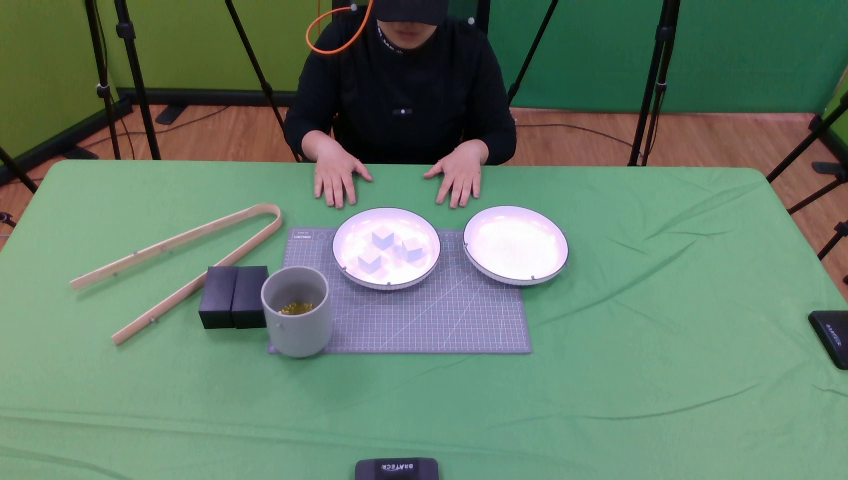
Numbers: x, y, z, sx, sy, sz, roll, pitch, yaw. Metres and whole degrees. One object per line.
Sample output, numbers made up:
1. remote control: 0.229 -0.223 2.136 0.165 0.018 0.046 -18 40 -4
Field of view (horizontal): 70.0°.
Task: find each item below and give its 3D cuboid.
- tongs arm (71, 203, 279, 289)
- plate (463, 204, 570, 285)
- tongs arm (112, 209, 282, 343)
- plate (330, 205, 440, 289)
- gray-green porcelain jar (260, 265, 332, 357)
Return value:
1. tongs arm: -0.454 0.011 1.144 0.385 0.026 0.050 -29 55 -29
2. plate: 0.178 0.011 1.184 0.209 0.038 0.208 3 46 -3
3. tongs arm: -0.397 0.057 1.109 0.028 0.028 0.387 28 50 25
4. plate: -0.074 0.017 1.160 0.208 0.039 0.206 2 46 -2
5. gray-green porcelain jar: -0.205 0.121 0.989 0.106 0.127 0.105 2 46 -2
